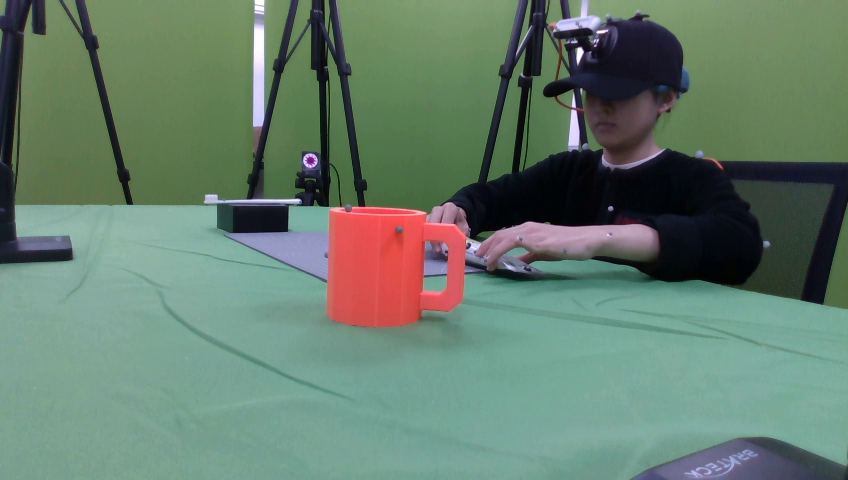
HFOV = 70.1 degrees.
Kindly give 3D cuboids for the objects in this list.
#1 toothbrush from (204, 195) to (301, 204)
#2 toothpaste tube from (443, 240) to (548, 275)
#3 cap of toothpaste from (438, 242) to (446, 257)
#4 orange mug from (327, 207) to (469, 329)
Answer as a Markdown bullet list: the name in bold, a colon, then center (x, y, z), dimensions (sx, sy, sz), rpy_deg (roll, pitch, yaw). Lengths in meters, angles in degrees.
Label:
- **toothbrush**: center (-0.314, -0.074, 1.120), dimensions (0.183, 0.016, 0.014), rpy_deg (-2, 4, -36)
- **toothpaste tube**: center (0.085, 0.024, 0.805), dimensions (0.055, 0.034, 0.164), rpy_deg (0, 11, -41)
- **cap of toothpaste**: center (0.037, 0.008, 0.864), dimensions (0.037, 0.037, 0.011), rpy_deg (-3, 14, -39)
- **orange mug**: center (-0.024, 0.021, 0.535), dimensions (0.126, 0.100, 0.083), rpy_deg (-1, 6, 8)
